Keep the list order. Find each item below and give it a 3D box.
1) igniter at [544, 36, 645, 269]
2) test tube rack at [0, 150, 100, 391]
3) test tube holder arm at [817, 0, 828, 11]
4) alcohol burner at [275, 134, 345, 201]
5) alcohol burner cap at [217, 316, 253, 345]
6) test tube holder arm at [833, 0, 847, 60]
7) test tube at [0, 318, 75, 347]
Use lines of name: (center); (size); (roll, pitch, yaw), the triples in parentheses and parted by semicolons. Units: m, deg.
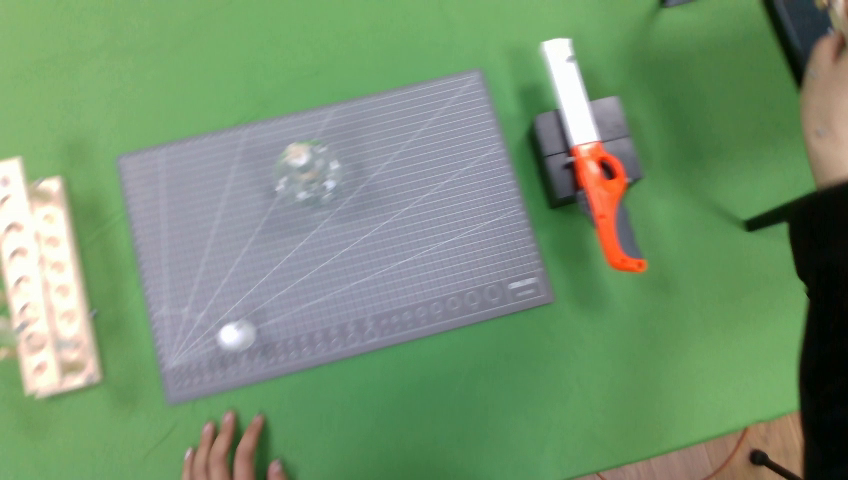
igniter: (0.185, -0.098, 0.668); (0.057, 0.025, 0.275); (-12, 78, -7)
test tube rack: (-0.419, 0.036, 0.646); (0.067, 0.085, 0.241); (-14, 81, -4)
test tube holder arm: (0.339, -0.243, 0.525); (0.010, 0.015, 0.088); (-16, 91, 16)
alcohol burner: (-0.127, -0.083, 0.657); (0.078, 0.119, 0.077); (0, 81, 0)
alcohol burner cap: (-0.209, 0.099, 0.661); (0.034, 0.048, 0.033); (1, 81, -3)
test tube holder arm: (0.358, -0.202, 0.524); (0.013, 0.015, 0.178); (-19, 90, 16)
test tube: (-0.382, 0.090, 0.588); (0.017, 0.151, 0.017); (1, 75, -3)
